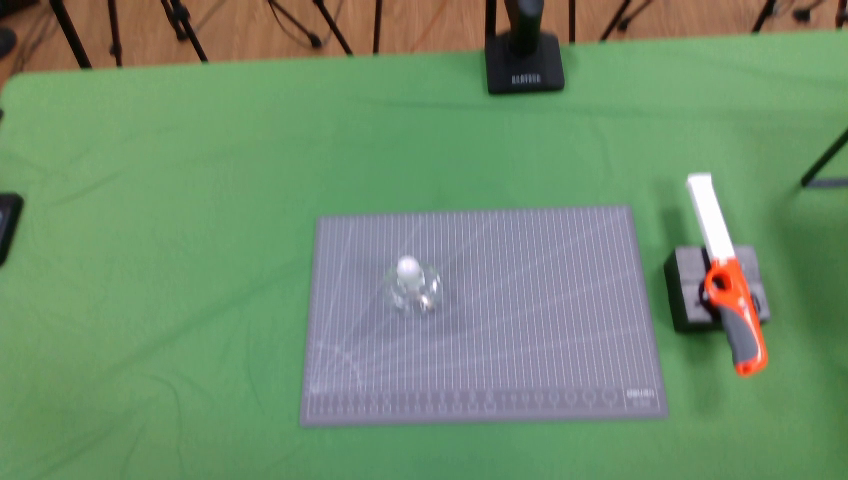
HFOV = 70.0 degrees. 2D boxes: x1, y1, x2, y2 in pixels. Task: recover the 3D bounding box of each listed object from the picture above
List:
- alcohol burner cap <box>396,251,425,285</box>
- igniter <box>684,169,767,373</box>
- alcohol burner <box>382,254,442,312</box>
[{"bbox_3d":[-0.018,0.032,0.729,0.034,0.048,0.033,-3,68,7],"label":"alcohol burner cap"},{"bbox_3d":[0.371,0.029,0.751,0.057,0.025,0.274,-3,61,2],"label":"igniter"},{"bbox_3d":[-0.016,0.047,0.762,0.078,0.120,0.077,0,64,1],"label":"alcohol burner"}]
